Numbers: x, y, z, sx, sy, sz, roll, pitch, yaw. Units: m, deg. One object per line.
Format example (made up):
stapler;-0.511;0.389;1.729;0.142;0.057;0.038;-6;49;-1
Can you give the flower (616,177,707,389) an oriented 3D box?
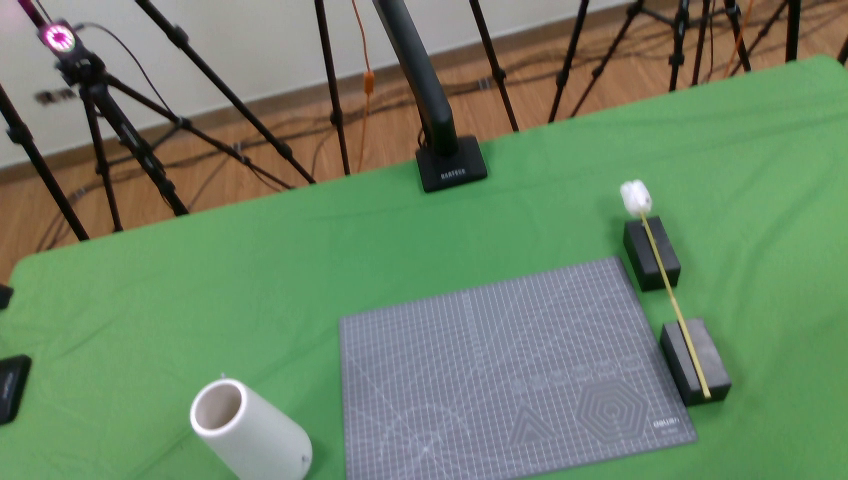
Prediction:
flower;0.328;0.043;0.841;0.044;0.038;0.358;12;47;-16

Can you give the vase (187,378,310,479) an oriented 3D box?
vase;-0.214;0.246;0.756;0.098;0.202;0.097;-6;51;8
